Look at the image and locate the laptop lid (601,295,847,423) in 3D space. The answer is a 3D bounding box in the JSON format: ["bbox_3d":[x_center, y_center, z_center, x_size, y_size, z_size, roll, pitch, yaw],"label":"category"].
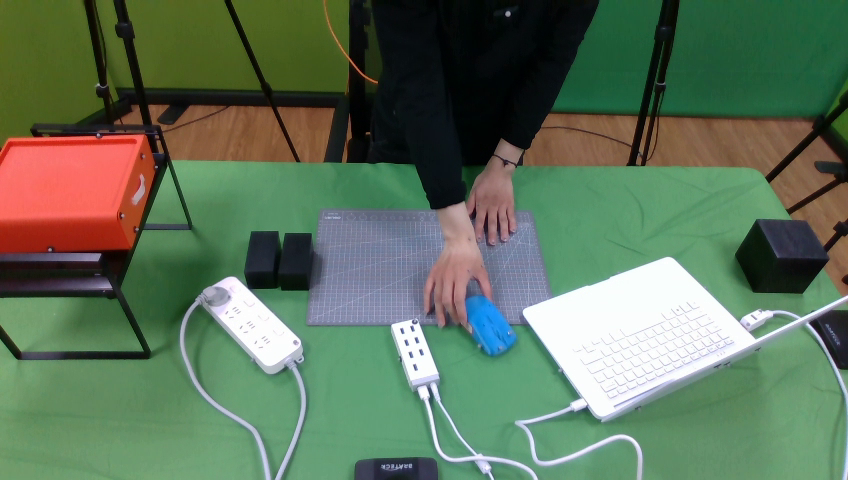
[{"bbox_3d":[0.449,0.180,0.905,0.357,0.242,0.013,-17,64,-20],"label":"laptop lid"}]

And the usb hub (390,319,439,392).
[{"bbox_3d":[-0.016,0.190,1.013,0.049,0.025,0.124,-11,48,-15],"label":"usb hub"}]

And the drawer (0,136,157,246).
[{"bbox_3d":[-0.545,-0.078,0.940,0.212,0.073,0.193,-1,47,-7],"label":"drawer"}]

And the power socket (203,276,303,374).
[{"bbox_3d":[-0.296,0.141,1.034,0.072,0.033,0.225,-35,58,-31],"label":"power socket"}]

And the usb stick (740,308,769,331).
[{"bbox_3d":[0.587,0.145,1.088,0.059,0.027,0.021,-21,48,-17],"label":"usb stick"}]

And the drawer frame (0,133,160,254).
[{"bbox_3d":[-0.547,-0.075,0.939,0.214,0.083,0.200,-3,47,-6],"label":"drawer frame"}]

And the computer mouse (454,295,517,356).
[{"bbox_3d":[0.107,0.144,1.054,0.063,0.041,0.116,-26,59,-27],"label":"computer mouse"}]

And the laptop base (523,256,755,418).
[{"bbox_3d":[0.381,0.159,1.077,0.355,0.023,0.234,-17,47,-20],"label":"laptop base"}]

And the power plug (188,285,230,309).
[{"bbox_3d":[-0.369,0.103,1.039,0.072,0.053,0.035,-26,54,-23],"label":"power plug"}]
